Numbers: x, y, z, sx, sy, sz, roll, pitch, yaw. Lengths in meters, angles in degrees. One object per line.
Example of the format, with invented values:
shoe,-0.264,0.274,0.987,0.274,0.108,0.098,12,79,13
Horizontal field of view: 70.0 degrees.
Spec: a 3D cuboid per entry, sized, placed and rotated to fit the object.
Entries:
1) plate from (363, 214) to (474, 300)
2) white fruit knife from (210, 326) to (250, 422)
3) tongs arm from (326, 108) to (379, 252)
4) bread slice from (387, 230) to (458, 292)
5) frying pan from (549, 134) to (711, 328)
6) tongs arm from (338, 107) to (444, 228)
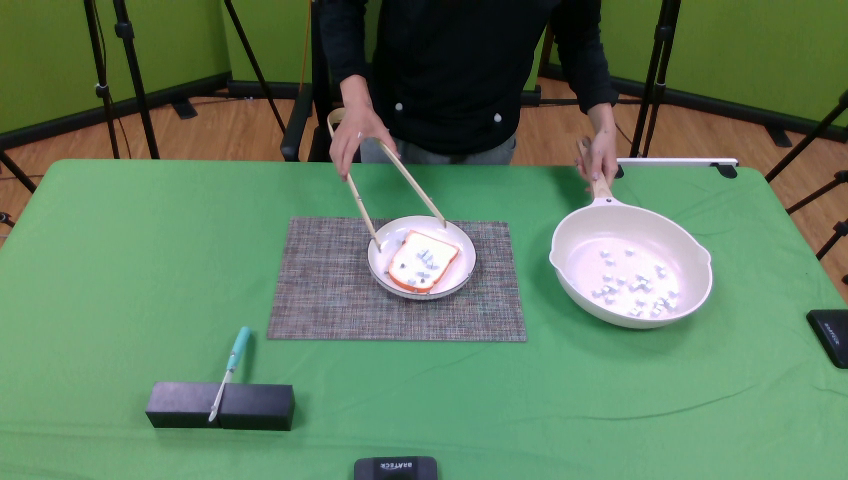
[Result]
plate,-0.010,0.036,1.146,0.208,0.039,0.206,3,46,-2
white fruit knife,-0.301,0.201,0.942,0.016,0.027,0.206,1,32,-1
tongs arm,-0.128,-0.125,1.131,0.051,0.027,0.382,-21,51,-10
bread slice,-0.007,0.043,1.142,0.107,0.018,0.134,18,46,14
frying pan,0.372,-0.035,1.203,0.307,0.103,0.484,-1,55,-6
tongs arm,-0.067,-0.148,1.145,0.028,0.028,0.385,-30,53,-12
